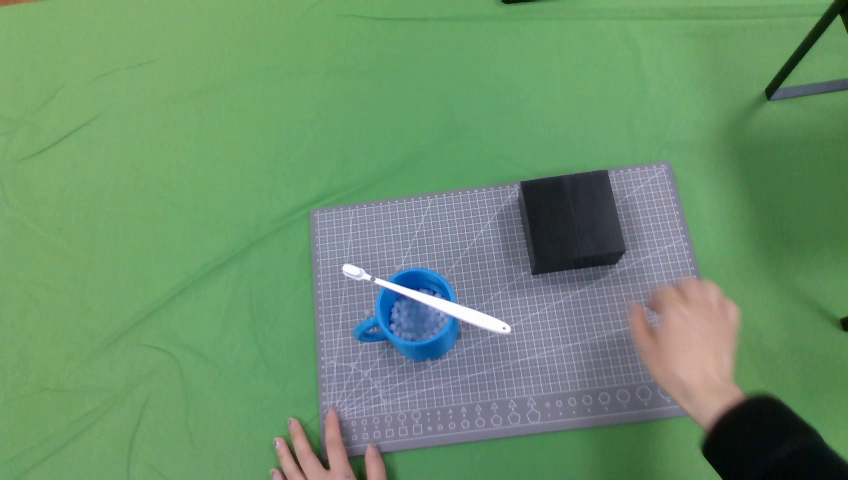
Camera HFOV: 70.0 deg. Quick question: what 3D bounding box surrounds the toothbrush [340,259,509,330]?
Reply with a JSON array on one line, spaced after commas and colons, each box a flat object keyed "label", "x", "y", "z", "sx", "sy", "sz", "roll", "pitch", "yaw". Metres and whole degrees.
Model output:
[{"label": "toothbrush", "x": -0.002, "y": 0.053, "z": 0.601, "sx": 0.181, "sy": 0.017, "sz": 0.014, "roll": 20, "pitch": 69, "yaw": 10}]

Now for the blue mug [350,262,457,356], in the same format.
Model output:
[{"label": "blue mug", "x": -0.022, "y": 0.082, "z": 0.654, "sx": 0.116, "sy": 0.106, "sz": 0.082, "roll": -16, "pitch": 71, "yaw": -1}]
